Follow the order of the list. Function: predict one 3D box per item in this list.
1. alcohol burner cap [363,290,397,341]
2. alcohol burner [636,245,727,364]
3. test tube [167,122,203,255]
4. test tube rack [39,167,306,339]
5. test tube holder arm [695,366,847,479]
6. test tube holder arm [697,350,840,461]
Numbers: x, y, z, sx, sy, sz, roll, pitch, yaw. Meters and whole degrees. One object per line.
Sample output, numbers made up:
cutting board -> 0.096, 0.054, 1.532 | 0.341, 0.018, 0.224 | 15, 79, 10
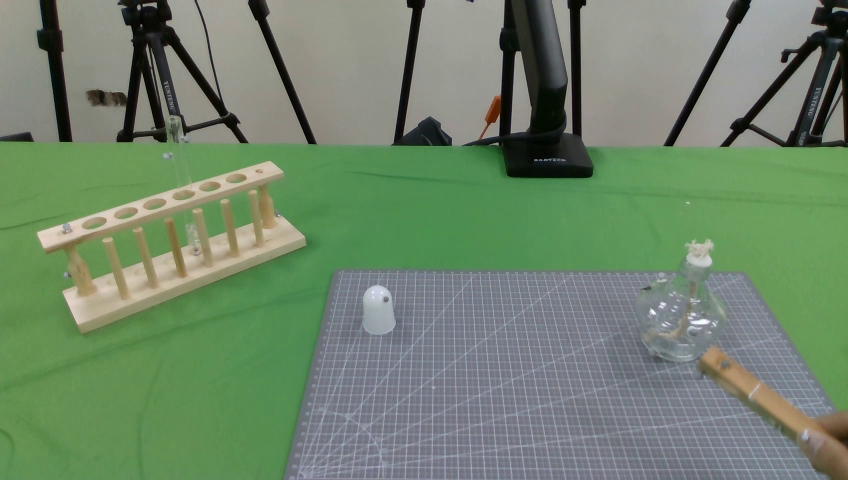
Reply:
alcohol burner cap -> -0.043, 0.069, 0.581 | 0.034, 0.048, 0.033 | 0, 35, 0
alcohol burner -> 0.233, 0.052, 0.539 | 0.078, 0.120, 0.077 | 0, 37, 0
test tube -> -0.249, -0.050, 0.635 | 0.017, 0.151, 0.017 | 2, 30, -1
test tube rack -> -0.253, 0.006, 0.642 | 0.243, 0.086, 0.066 | -24, 41, -30
test tube holder arm -> 0.244, 0.131, 0.362 | 0.015, 0.013, 0.177 | -45, 63, -8
test tube holder arm -> 0.212, 0.103, 0.378 | 0.015, 0.010, 0.087 | -45, 62, -7
